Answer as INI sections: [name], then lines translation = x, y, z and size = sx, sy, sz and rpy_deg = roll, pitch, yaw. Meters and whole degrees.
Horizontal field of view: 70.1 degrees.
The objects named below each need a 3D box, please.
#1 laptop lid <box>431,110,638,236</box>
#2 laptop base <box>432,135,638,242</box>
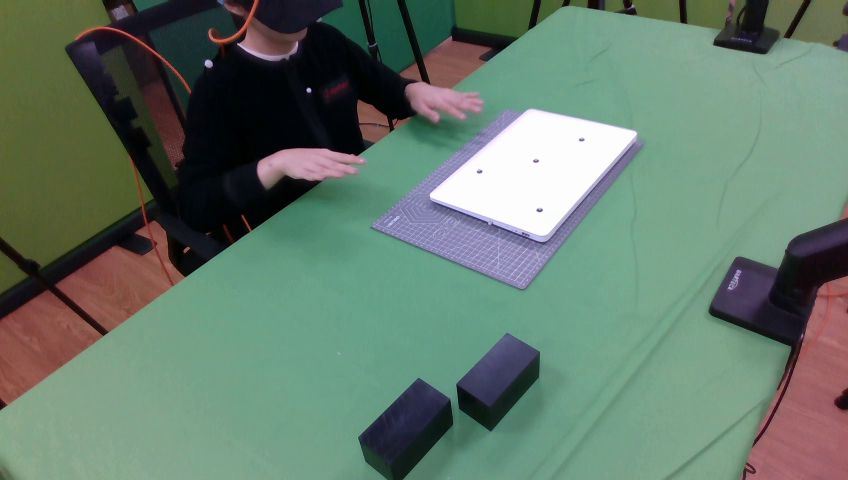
[laptop lid]
translation = 0.205, -0.138, 1.092
size = 0.239, 0.013, 0.358
rpy_deg = 23, 49, 34
[laptop base]
translation = 0.208, -0.129, 1.098
size = 0.233, 0.023, 0.355
rpy_deg = 20, 47, 33
